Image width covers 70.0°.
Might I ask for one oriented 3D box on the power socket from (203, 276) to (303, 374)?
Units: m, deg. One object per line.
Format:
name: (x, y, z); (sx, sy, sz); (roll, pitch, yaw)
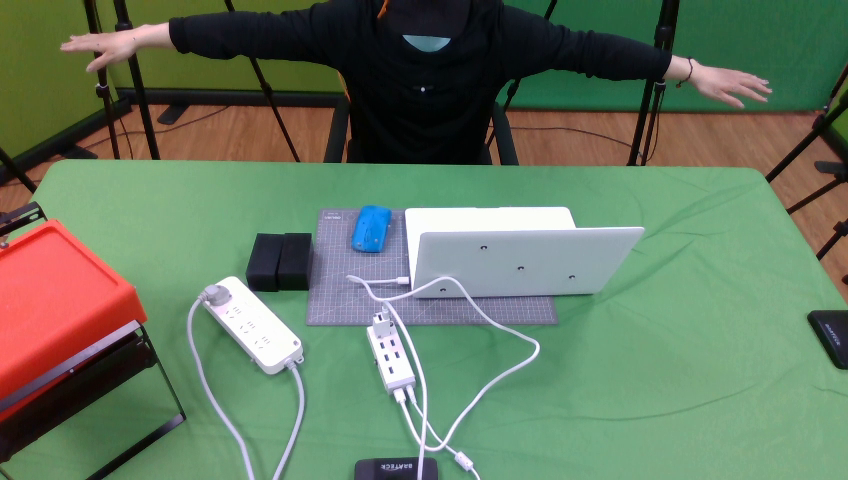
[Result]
power socket: (-0.296, 0.141, 1.034); (0.072, 0.033, 0.225); (-35, 58, -30)

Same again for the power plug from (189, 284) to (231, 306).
power plug: (-0.368, 0.100, 1.037); (0.072, 0.053, 0.035); (-23, 54, -26)

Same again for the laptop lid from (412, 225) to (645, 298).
laptop lid: (0.161, 0.042, 1.012); (0.357, 0.242, 0.013); (0, 59, -7)

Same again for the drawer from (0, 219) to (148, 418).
drawer: (-0.509, 0.093, 0.783); (0.193, 0.073, 0.211); (32, 53, 24)

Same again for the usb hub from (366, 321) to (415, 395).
usb hub: (-0.056, 0.194, 1.007); (0.049, 0.025, 0.124); (-12, 49, -15)

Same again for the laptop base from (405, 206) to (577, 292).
laptop base: (0.143, 0.018, 1.196); (0.355, 0.023, 0.234); (-1, 43, -6)

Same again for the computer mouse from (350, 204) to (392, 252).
computer mouse: (-0.104, -0.027, 1.202); (0.063, 0.041, 0.116); (11, 51, 4)

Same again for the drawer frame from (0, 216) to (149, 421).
drawer frame: (-0.510, 0.093, 0.780); (0.201, 0.083, 0.213); (31, 52, 23)

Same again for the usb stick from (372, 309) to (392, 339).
usb stick: (-0.070, 0.145, 1.008); (0.027, 0.059, 0.021); (-14, 40, -25)
